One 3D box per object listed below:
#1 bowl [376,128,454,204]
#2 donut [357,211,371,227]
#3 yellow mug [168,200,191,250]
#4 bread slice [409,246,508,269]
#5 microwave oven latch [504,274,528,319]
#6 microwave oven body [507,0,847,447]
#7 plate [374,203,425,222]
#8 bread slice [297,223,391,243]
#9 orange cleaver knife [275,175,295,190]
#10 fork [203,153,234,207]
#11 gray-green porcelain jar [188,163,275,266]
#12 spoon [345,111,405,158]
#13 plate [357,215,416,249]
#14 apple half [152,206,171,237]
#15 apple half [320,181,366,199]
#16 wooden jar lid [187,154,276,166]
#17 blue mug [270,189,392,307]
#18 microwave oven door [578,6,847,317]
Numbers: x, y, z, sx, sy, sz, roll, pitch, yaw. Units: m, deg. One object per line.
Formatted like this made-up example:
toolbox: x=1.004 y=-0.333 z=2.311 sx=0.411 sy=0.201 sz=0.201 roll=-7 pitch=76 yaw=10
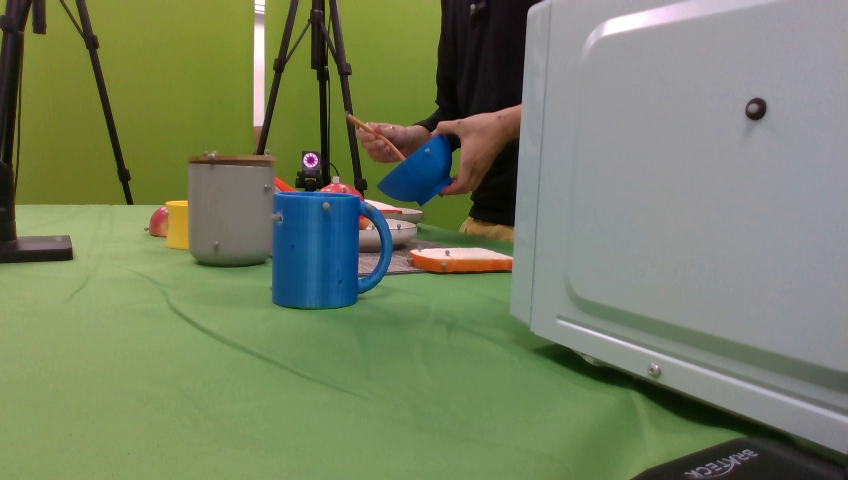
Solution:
bowl: x=0.000 y=-0.115 z=1.043 sx=0.151 sy=0.077 sz=0.151 roll=-39 pitch=3 yaw=3
donut: x=-0.132 y=-0.041 z=0.959 sx=0.099 sy=0.048 sz=0.099 roll=3 pitch=8 yaw=0
yellow mug: x=-0.320 y=-0.023 z=0.904 sx=0.130 sy=0.064 sz=0.100 roll=8 pitch=10 yaw=36
bread slice: x=0.048 y=0.022 z=0.816 sx=0.132 sy=0.019 sz=0.104 roll=0 pitch=7 yaw=-24
microwave oven latch: x=0.100 y=0.041 z=0.471 sx=0.079 sy=0.029 sz=0.030 roll=-1 pitch=7 yaw=-28
microwave oven body: x=0.331 y=-0.042 z=0.425 sx=0.444 sy=0.260 sz=0.324 roll=-2 pitch=8 yaw=-31
plate: x=-0.102 y=-0.053 z=1.299 sx=0.209 sy=0.038 sz=0.209 roll=2 pitch=8 yaw=0
bread slice: x=-0.121 y=-0.013 z=0.971 sx=0.106 sy=0.018 sz=0.135 roll=9 pitch=10 yaw=41
orange cleaver knife: x=-0.283 y=-0.087 z=1.343 sx=0.212 sy=0.077 sz=0.012 roll=24 pitch=-16 yaw=-41
fork: x=-0.480 y=-0.134 z=1.411 sx=0.028 sy=0.018 sz=0.207 roll=1 pitch=-35 yaw=0
gray-green porcelain jar: x=-0.246 y=-0.034 z=0.780 sx=0.106 sy=0.126 sz=0.106 roll=1 pitch=7 yaw=0
spoon: x=-0.062 y=-0.170 z=1.058 sx=0.193 sy=0.021 sz=0.041 roll=40 pitch=-2 yaw=9
plate: x=-0.116 y=-0.014 z=0.967 sx=0.208 sy=0.039 sz=0.207 roll=2 pitch=7 yaw=0
apple half: x=-0.415 y=-0.034 z=1.017 sx=0.081 sy=0.053 sz=0.074 roll=1 pitch=10 yaw=-9
apple half: x=-0.130 y=-0.077 z=0.952 sx=0.081 sy=0.033 sz=0.081 roll=3 pitch=15 yaw=0
wooden jar lid: x=-0.244 y=-0.097 z=0.771 sx=0.108 sy=0.020 sz=0.108 roll=-1 pitch=7 yaw=0
blue mug: x=-0.090 y=0.005 z=0.588 sx=0.117 sy=0.106 sz=0.082 roll=1 pitch=7 yaw=-11
microwave oven door: x=0.294 y=-0.067 z=0.570 sx=0.358 sy=0.243 sz=0.039 roll=-3 pitch=9 yaw=-31
